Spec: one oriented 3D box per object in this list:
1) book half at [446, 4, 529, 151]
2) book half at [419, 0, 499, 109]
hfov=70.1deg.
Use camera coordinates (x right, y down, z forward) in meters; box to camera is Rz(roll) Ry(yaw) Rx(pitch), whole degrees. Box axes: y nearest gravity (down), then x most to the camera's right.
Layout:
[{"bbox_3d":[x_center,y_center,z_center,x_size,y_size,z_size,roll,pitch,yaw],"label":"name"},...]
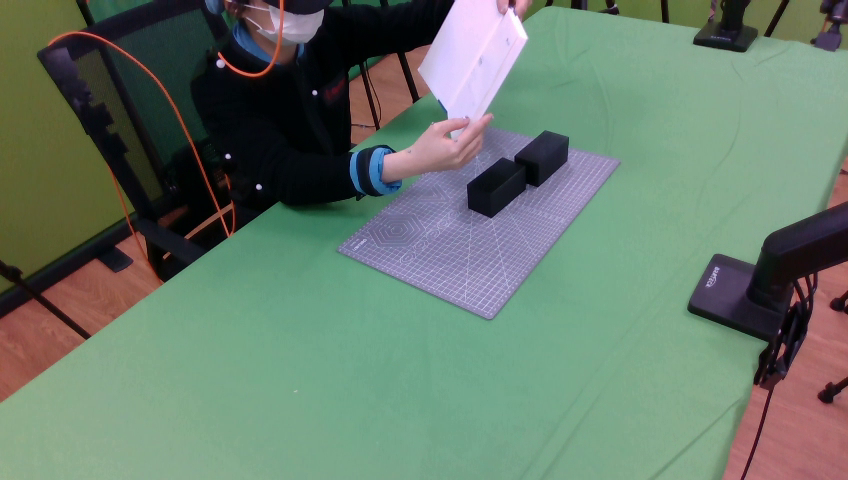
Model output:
[{"bbox_3d":[0.095,-0.260,0.974,0.016,0.210,0.148,24,33,-18],"label":"book half"},{"bbox_3d":[0.056,-0.358,1.074,0.007,0.210,0.142,7,41,-30],"label":"book half"}]
